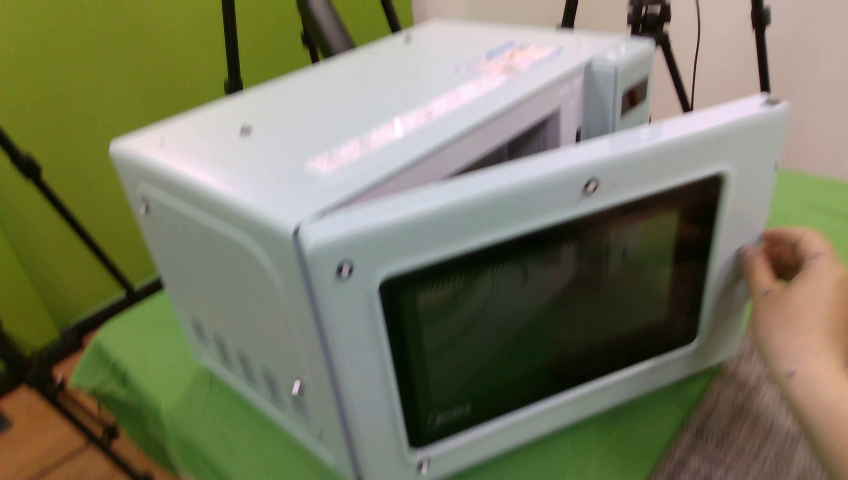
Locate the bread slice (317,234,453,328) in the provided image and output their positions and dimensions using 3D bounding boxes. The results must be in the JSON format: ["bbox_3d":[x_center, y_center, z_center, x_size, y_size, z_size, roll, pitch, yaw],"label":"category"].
[{"bbox_3d":[-0.037,0.034,0.649,0.131,0.019,0.104,-30,38,-27],"label":"bread slice"}]

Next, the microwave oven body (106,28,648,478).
[{"bbox_3d":[-0.022,-0.030,0.642,0.323,0.262,0.441,21,42,38],"label":"microwave oven body"}]

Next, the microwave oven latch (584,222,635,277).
[{"bbox_3d":[0.217,0.011,0.708,0.030,0.030,0.079,23,43,39],"label":"microwave oven latch"}]

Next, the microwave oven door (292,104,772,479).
[{"bbox_3d":[0.100,0.052,0.468,0.356,0.246,0.039,-17,32,-15],"label":"microwave oven door"}]
